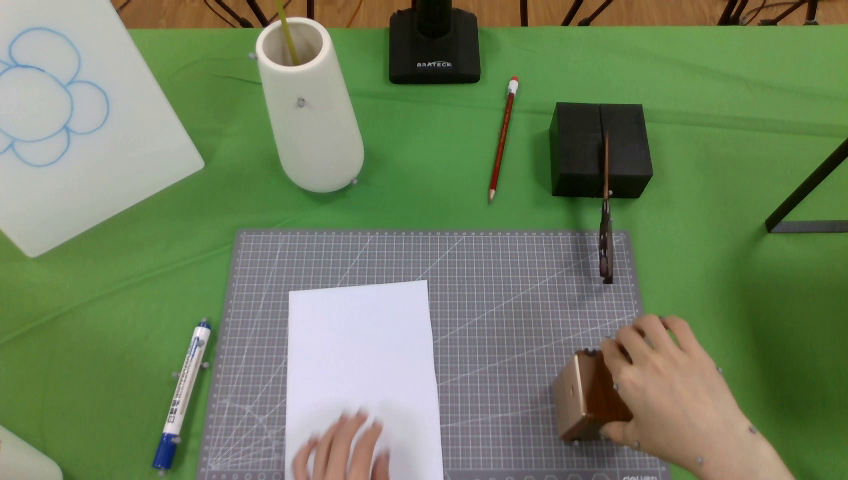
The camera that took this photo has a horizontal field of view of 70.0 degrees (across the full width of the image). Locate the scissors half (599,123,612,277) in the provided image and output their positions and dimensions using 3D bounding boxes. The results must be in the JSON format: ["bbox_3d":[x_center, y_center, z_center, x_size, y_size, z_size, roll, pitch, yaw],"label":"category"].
[{"bbox_3d":[0.200,-0.046,0.669,0.012,0.040,0.174,-2,82,25],"label":"scissors half"}]

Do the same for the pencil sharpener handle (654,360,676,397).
[{"bbox_3d":[0.217,0.129,0.551,0.030,0.068,0.036,-1,72,-1],"label":"pencil sharpener handle"}]

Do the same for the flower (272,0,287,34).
[{"bbox_3d":[-0.131,-0.193,0.577,0.044,0.365,0.038,-6,46,0],"label":"flower"}]

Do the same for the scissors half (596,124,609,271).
[{"bbox_3d":[0.192,-0.051,0.651,0.013,0.040,0.174,-1,65,20],"label":"scissors half"}]

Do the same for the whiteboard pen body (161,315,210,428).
[{"bbox_3d":[-0.241,0.141,0.605,0.017,0.017,0.139,6,62,3],"label":"whiteboard pen body"}]

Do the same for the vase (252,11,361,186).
[{"bbox_3d":[-0.124,-0.143,0.646,0.098,0.201,0.097,0,63,1],"label":"vase"}]

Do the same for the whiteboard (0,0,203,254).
[{"bbox_3d":[-0.417,-0.178,0.634,0.217,0.309,0.142,-32,49,-14],"label":"whiteboard"}]

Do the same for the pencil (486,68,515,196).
[{"bbox_3d":[0.094,-0.137,0.750,0.012,0.012,0.193,11,65,5],"label":"pencil"}]

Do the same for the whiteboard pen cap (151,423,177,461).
[{"bbox_3d":[-0.246,0.192,0.578,0.018,0.018,0.033,6,59,3],"label":"whiteboard pen cap"}]

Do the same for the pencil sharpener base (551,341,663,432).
[{"bbox_3d":[0.166,0.137,0.560,0.077,0.108,0.061,-1,63,-1],"label":"pencil sharpener base"}]

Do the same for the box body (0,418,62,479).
[{"bbox_3d":[-0.534,0.204,0.491,0.363,0.161,0.253,25,66,11],"label":"box body"}]
